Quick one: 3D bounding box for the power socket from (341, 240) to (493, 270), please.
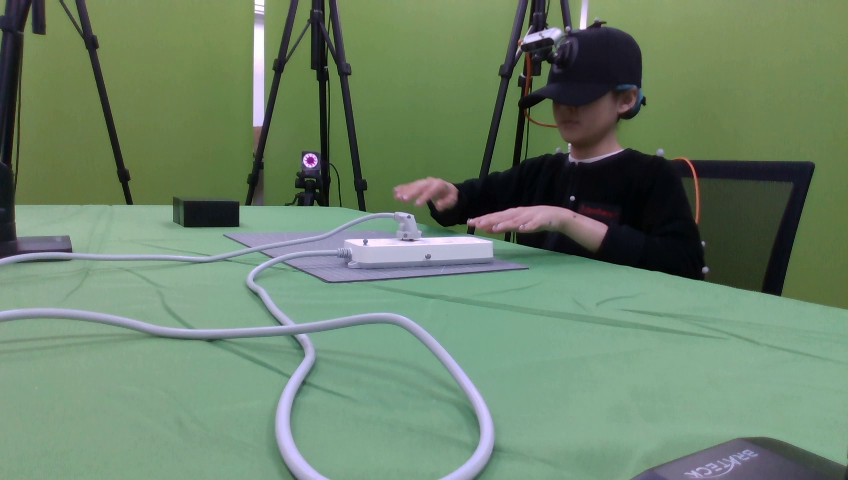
[{"bbox_3d":[-0.006,0.018,0.831,0.228,0.032,0.072,-1,7,-29],"label":"power socket"}]

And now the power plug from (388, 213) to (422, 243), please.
[{"bbox_3d":[-0.026,-0.010,0.848,0.035,0.052,0.072,2,9,-17],"label":"power plug"}]
